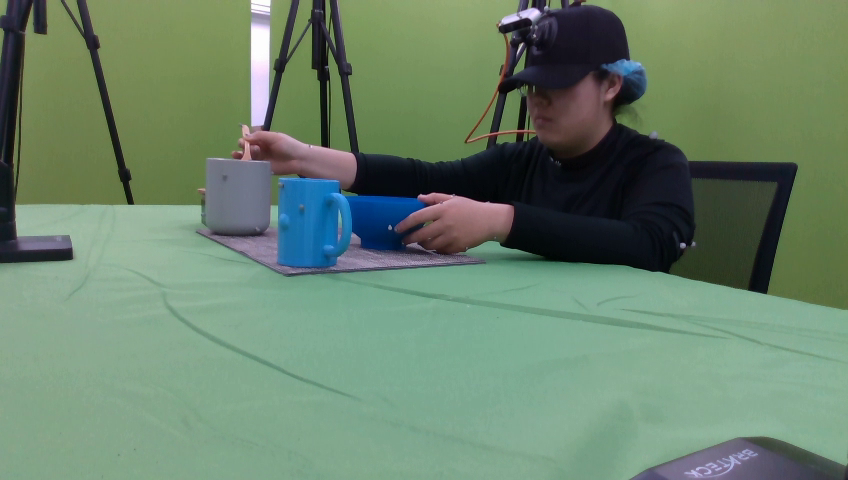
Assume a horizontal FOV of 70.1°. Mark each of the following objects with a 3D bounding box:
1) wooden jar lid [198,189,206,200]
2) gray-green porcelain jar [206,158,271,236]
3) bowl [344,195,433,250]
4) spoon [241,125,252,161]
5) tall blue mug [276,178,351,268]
[{"bbox_3d":[-0.382,-0.088,1.175,0.108,0.020,0.108,3,8,0],"label":"wooden jar lid"},{"bbox_3d":[-0.316,-0.074,1.031,0.106,0.126,0.106,3,7,0],"label":"gray-green porcelain jar"},{"bbox_3d":[-0.063,-0.028,0.957,0.151,0.077,0.151,2,7,0],"label":"bowl"},{"bbox_3d":[-0.313,-0.160,1.069,0.042,0.021,0.193,7,37,-21],"label":"spoon"},{"bbox_3d":[-0.133,-0.022,0.766,0.107,0.108,0.078,4,6,12],"label":"tall blue mug"}]
